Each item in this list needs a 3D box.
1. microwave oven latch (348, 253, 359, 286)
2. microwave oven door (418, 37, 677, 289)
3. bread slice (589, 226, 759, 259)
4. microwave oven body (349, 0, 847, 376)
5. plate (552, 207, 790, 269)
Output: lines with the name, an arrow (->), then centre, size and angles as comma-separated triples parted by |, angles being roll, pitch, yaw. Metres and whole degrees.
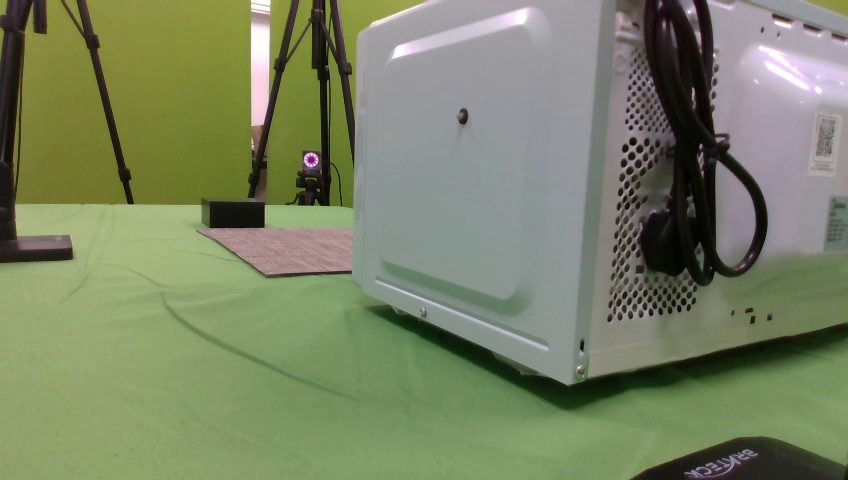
microwave oven latch -> -0.034, 0.028, 0.581 | 0.079, 0.029, 0.030 | -1, 7, -32
microwave oven door -> 0.159, -0.079, 0.684 | 0.358, 0.243, 0.039 | -2, 9, -32
bread slice -> 0.226, 0.001, 0.568 | 0.132, 0.019, 0.104 | 3, 5, -23
microwave oven body -> 0.199, -0.053, 0.540 | 0.444, 0.260, 0.324 | -1, 7, -32
plate -> 0.225, -0.004, 0.572 | 0.209, 0.038, 0.209 | 4, 7, 0
